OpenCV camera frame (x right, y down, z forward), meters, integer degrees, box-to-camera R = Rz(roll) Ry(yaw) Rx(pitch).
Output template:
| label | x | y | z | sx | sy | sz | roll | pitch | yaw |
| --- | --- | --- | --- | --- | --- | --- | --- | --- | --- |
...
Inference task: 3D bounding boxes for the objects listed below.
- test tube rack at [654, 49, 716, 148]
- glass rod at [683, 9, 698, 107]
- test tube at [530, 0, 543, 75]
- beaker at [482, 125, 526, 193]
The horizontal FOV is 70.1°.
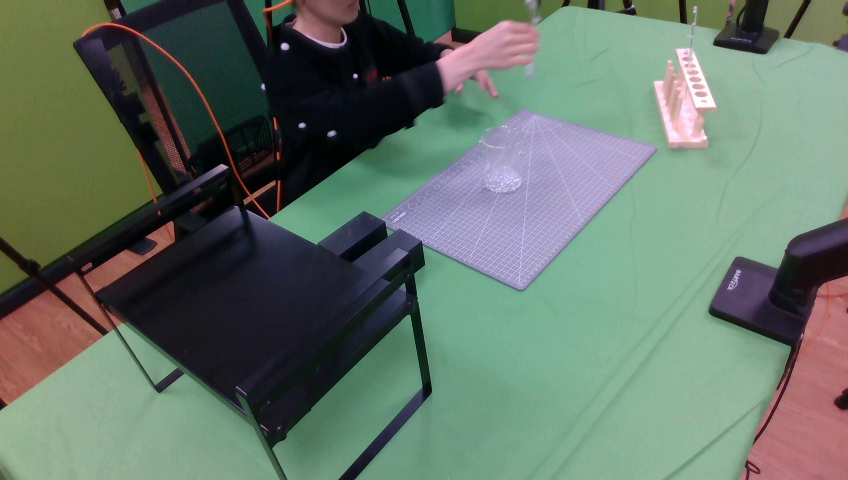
| label | x | y | z | sx | sy | sz | roll | pitch | yaw |
| --- | --- | --- | --- | --- | --- | --- | --- | --- | --- |
| test tube rack | 0.502 | -0.281 | 1.176 | 0.066 | 0.085 | 0.241 | 2 | 41 | 11 |
| glass rod | 0.501 | -0.336 | 1.139 | 0.008 | 0.201 | 0.008 | -8 | 42 | 8 |
| test tube | 0.199 | -0.360 | 1.068 | 0.017 | 0.151 | 0.017 | -3 | 47 | 4 |
| beaker | 0.141 | -0.141 | 1.055 | 0.073 | 0.101 | 0.084 | 10 | 43 | 20 |
